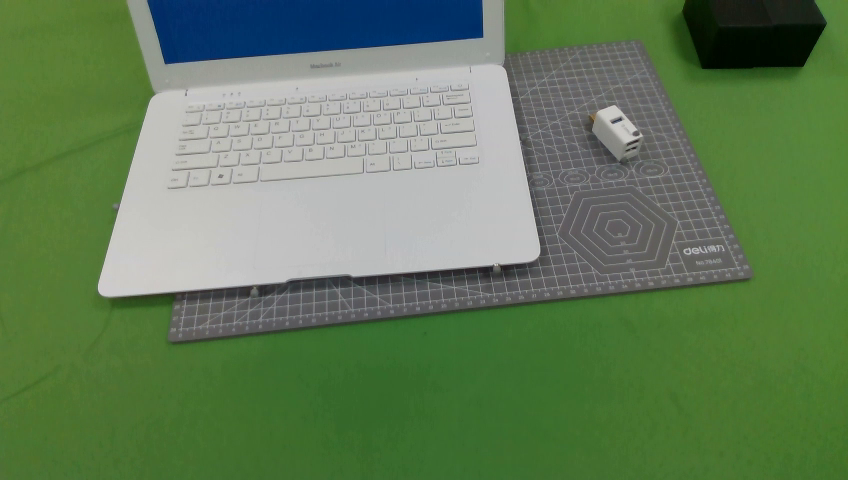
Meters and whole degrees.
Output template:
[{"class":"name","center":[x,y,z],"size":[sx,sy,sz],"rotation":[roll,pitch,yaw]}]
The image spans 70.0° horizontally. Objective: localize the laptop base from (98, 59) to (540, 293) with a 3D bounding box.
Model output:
[{"class":"laptop base","center":[-0.090,-0.065,0.542],"size":[0.354,0.023,0.233],"rotation":[-5,58,0]}]

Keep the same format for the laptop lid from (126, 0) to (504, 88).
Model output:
[{"class":"laptop lid","center":[-0.105,-0.263,0.550],"size":[0.357,0.243,0.013],"rotation":[-6,30,1]}]

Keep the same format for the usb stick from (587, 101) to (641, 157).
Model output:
[{"class":"usb stick","center":[0.168,-0.104,0.546],"size":[0.021,0.027,0.058],"rotation":[-22,54,-11]}]
